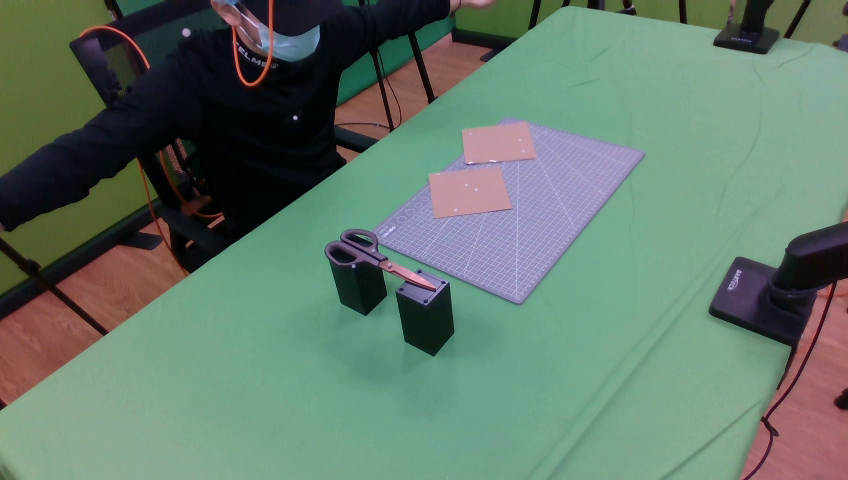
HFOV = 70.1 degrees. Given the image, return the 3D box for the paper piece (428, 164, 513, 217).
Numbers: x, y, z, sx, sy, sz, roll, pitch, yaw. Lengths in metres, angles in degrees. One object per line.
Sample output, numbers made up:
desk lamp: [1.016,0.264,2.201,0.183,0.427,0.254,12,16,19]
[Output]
paper piece: [0.078,-0.091,1.069,0.135,0.004,0.135,-6,41,0]

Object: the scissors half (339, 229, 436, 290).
scissors half: [-0.048,0.025,0.801,0.173,0.013,0.040,31,52,33]

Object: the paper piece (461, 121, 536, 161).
paper piece: [0.143,-0.193,1.181,0.136,0.009,0.137,-2,39,1]

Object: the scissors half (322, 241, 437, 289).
scissors half: [-0.060,0.035,0.788,0.174,0.013,0.040,16,40,21]
